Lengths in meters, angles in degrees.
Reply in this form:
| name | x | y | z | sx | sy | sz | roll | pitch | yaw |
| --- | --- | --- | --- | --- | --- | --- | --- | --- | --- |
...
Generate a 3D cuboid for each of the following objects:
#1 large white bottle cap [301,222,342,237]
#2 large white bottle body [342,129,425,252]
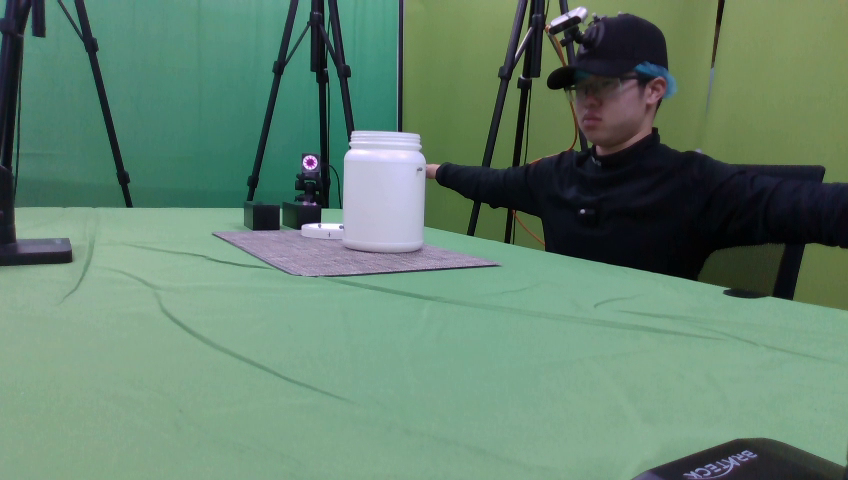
| name | x | y | z | sx | sy | sz | roll | pitch | yaw |
| --- | --- | --- | --- | --- | --- | --- | --- | --- | --- |
| large white bottle cap | -0.167 | -0.019 | 1.103 | 0.115 | 0.018 | 0.115 | 2 | 7 | 0 |
| large white bottle body | -0.064 | -0.080 | 0.958 | 0.131 | 0.184 | 0.130 | 2 | 8 | 0 |
